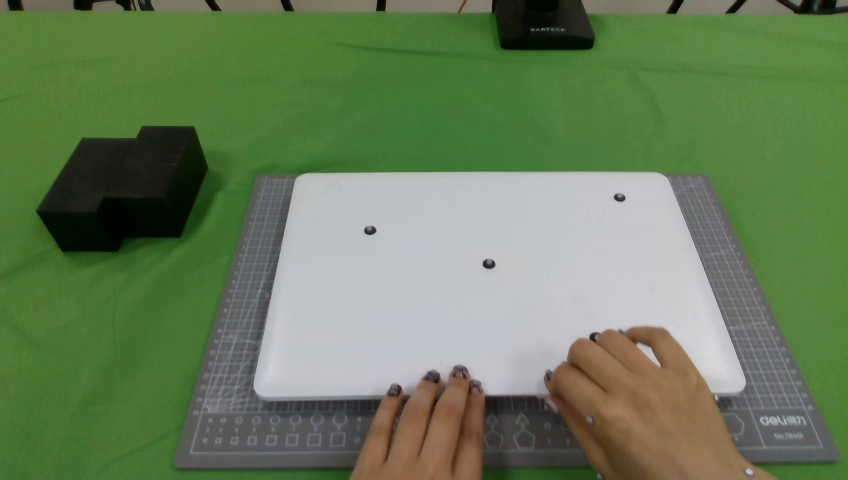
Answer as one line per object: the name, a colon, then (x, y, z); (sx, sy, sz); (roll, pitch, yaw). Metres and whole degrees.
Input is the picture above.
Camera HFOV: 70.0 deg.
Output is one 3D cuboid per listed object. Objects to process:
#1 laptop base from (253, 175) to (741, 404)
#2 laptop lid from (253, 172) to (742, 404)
laptop base: (0.052, 0.031, 0.510); (0.354, 0.023, 0.233); (0, 50, -1)
laptop lid: (0.052, 0.025, 0.500); (0.357, 0.013, 0.239); (1, 49, 0)
